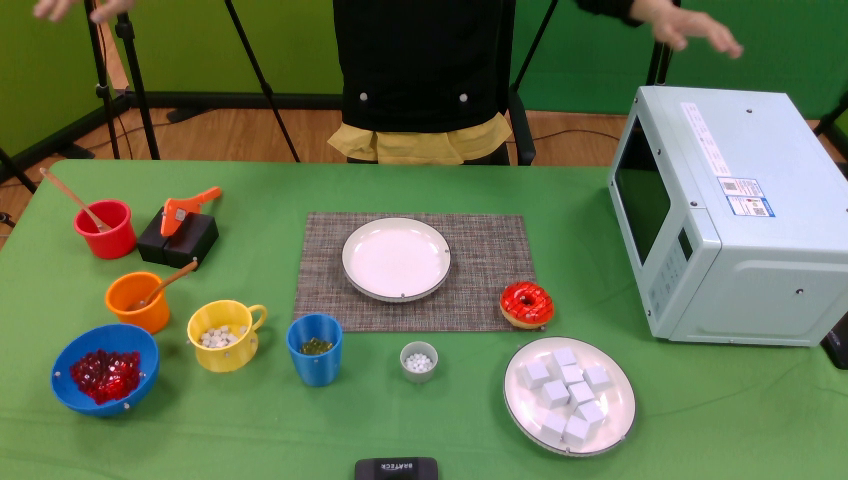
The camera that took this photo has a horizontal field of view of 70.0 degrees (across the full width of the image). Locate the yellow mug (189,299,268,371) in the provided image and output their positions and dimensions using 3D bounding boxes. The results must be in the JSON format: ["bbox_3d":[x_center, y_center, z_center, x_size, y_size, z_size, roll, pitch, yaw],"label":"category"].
[{"bbox_3d":[-0.316,0.148,1.002,0.131,0.064,0.099,-32,56,-31],"label":"yellow mug"}]

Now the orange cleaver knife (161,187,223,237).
[{"bbox_3d":[-0.449,-0.059,1.181,0.012,0.077,0.211,14,17,6],"label":"orange cleaver knife"}]

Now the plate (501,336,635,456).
[{"bbox_3d":[0.225,0.248,0.963,0.208,0.039,0.206,2,46,-2],"label":"plate"}]

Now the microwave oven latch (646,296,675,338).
[{"bbox_3d":[0.412,0.134,1.061,0.030,0.029,0.078,4,45,1],"label":"microwave oven latch"}]

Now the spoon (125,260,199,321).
[{"bbox_3d":[-0.434,0.083,1.000,0.022,0.194,0.041,35,34,-34],"label":"spoon"}]

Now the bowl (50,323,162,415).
[{"bbox_3d":[-0.472,0.209,0.924,0.151,0.077,0.150,2,45,-2],"label":"bowl"}]

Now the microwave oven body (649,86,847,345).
[{"bbox_3d":[0.568,-0.053,1.118,0.326,0.261,0.439,2,45,-1],"label":"microwave oven body"}]

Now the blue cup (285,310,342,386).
[{"bbox_3d":[-0.170,0.179,0.958,0.093,0.101,0.092,2,44,-1],"label":"blue cup"}]

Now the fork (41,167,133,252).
[{"bbox_3d":[-0.624,-0.055,1.121,0.208,0.018,0.028,50,52,-15],"label":"fork"}]

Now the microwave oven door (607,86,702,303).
[{"bbox_3d":[0.423,-0.094,1.141,0.039,0.245,0.353,2,46,-1],"label":"microwave oven door"}]

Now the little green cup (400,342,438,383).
[{"bbox_3d":[-0.010,0.202,0.991,0.061,0.039,0.061,2,47,-2],"label":"little green cup"}]

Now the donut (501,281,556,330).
[{"bbox_3d":[0.185,0.116,1.079,0.099,0.048,0.098,3,45,-3],"label":"donut"}]

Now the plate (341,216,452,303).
[{"bbox_3d":[-0.052,0.039,1.140,0.209,0.038,0.208,2,46,-2],"label":"plate"}]
